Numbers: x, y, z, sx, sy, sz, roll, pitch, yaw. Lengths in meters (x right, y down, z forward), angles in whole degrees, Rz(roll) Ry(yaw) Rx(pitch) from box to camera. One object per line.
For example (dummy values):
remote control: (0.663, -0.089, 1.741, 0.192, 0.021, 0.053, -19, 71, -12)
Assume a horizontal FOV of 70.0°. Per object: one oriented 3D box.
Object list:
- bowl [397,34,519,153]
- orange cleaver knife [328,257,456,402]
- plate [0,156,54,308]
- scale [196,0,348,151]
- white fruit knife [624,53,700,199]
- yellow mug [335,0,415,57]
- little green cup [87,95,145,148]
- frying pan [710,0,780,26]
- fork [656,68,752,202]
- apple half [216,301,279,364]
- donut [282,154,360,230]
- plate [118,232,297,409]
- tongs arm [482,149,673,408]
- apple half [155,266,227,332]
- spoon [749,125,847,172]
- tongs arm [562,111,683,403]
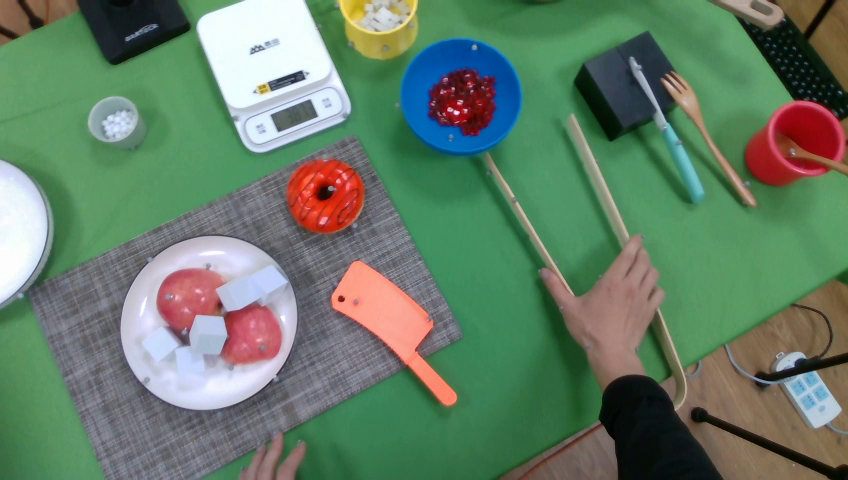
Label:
bowl: (0.041, -0.174, 0.774, 0.151, 0.077, 0.150, 0, 79, -2)
orange cleaver knife: (-0.029, 0.107, 0.742, 0.210, 0.012, 0.077, 42, 75, 8)
plate: (-0.556, -0.005, 0.742, 0.208, 0.039, 0.206, 0, 79, -2)
scale: (-0.201, -0.230, 0.801, 0.149, 0.031, 0.200, -23, 81, -6)
white fruit knife: (0.304, -0.146, 0.776, 0.016, 0.027, 0.208, -30, 96, -7)
yellow mug: (-0.076, -0.311, 0.803, 0.130, 0.064, 0.099, 29, 80, 5)
little green cup: (-0.392, -0.149, 0.776, 0.061, 0.039, 0.061, 0, 78, -1)
frying pan: (0.243, -0.405, 0.813, 0.485, 0.103, 0.306, 33, 81, 13)
fork: (0.365, -0.134, 0.783, 0.028, 0.018, 0.208, -37, 98, -10)
apple half: (-0.215, 0.109, 0.720, 0.081, 0.033, 0.081, 0, 82, 1)
donut: (-0.128, -0.060, 0.760, 0.099, 0.048, 0.098, 0, 80, 0)
plate: (-0.254, 0.095, 0.728, 0.209, 0.038, 0.208, 0, 79, -1)
tongs arm: (0.187, 0.042, 0.758, 0.051, 0.026, 0.383, -27, 82, -9)
apple half: (-0.279, 0.066, 0.717, 0.074, 0.053, 0.080, 16, 78, 4)
spoon: (0.484, -0.100, 0.740, 0.041, 0.022, 0.191, -33, 37, -8)
tongs arm: (0.248, 0.014, 0.766, 0.028, 0.028, 0.386, -18, 81, -11)
